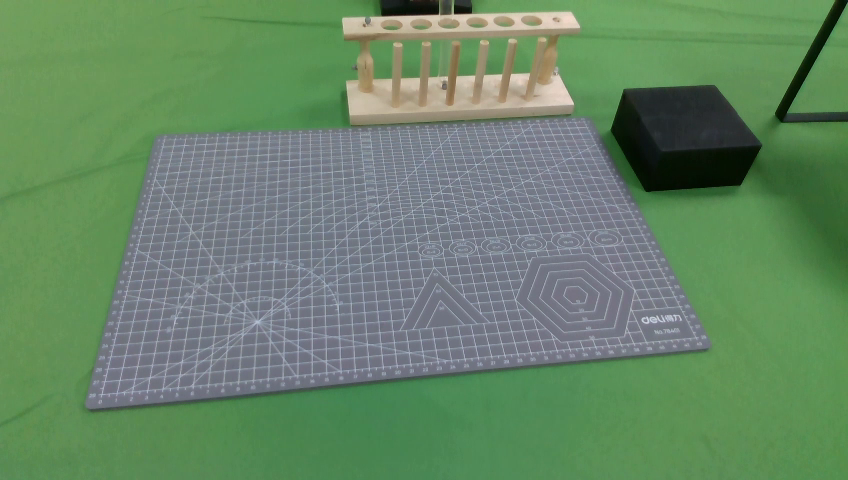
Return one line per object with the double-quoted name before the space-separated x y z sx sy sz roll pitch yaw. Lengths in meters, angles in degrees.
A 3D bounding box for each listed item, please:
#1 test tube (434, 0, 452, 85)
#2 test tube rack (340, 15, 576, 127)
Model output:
"test tube" 0.019 -0.226 0.615 0.017 0.151 0.017 0 44 0
"test tube rack" 0.037 -0.179 0.641 0.243 0.086 0.066 -4 47 -8
